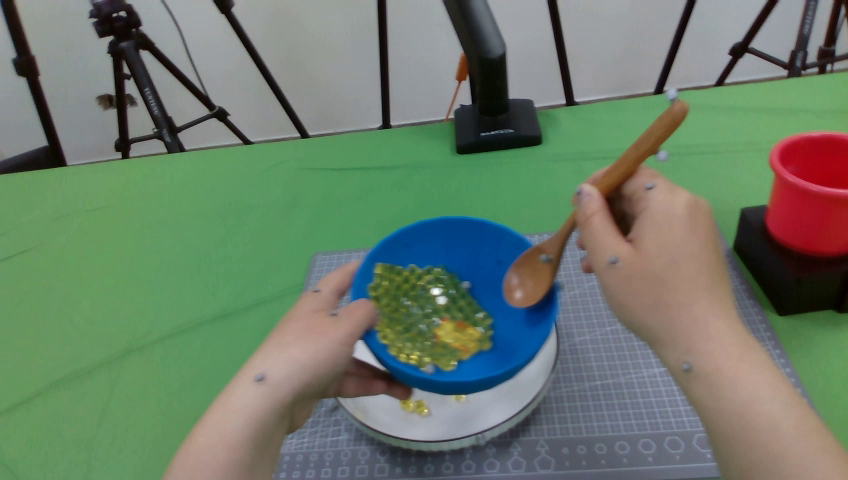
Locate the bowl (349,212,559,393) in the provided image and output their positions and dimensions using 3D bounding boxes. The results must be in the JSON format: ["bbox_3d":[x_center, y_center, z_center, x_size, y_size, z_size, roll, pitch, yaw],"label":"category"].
[{"bbox_3d":[0.022,0.058,0.460,0.151,0.077,0.150,-1,48,1],"label":"bowl"}]

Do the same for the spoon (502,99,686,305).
[{"bbox_3d":[0.098,-0.015,0.381,0.022,0.194,0.041,2,56,-19],"label":"spoon"}]

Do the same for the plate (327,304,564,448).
[{"bbox_3d":[0.019,0.098,0.544,0.207,0.039,0.205,-6,39,5],"label":"plate"}]
